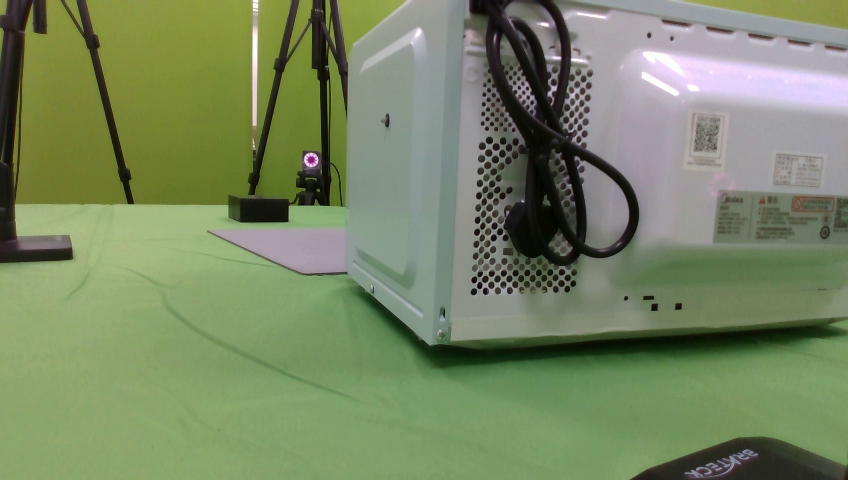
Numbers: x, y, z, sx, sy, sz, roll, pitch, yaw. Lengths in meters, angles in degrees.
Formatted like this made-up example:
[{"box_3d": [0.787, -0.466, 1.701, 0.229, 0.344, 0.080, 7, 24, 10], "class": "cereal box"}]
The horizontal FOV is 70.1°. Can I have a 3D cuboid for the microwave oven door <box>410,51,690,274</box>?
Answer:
[{"box_3d": [0.161, -0.084, 0.723, 0.357, 0.243, 0.039, 0, 8, -20], "class": "microwave oven door"}]

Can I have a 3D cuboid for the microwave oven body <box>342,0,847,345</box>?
[{"box_3d": [0.169, -0.060, 0.573, 0.444, 0.260, 0.324, 1, 7, -20], "class": "microwave oven body"}]

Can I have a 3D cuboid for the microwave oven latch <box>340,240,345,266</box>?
[{"box_3d": [-0.052, 0.016, 0.662, 0.079, 0.029, 0.030, 1, 7, -19], "class": "microwave oven latch"}]
